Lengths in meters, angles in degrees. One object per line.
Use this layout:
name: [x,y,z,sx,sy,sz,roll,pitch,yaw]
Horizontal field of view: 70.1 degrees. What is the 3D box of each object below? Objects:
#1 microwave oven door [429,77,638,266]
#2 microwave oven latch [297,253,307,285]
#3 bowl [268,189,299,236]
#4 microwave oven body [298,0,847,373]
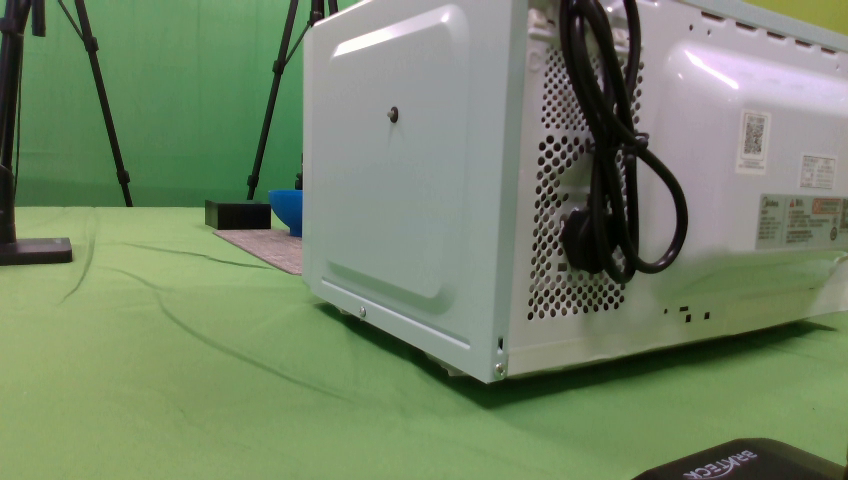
microwave oven door: [0.143,-0.106,0.903,0.039,0.243,0.354,-4,9,-41]
microwave oven latch: [-0.082,0.027,0.583,0.079,0.029,0.030,-2,7,-33]
bowl: [-0.205,-0.049,1.090,0.151,0.077,0.151,3,7,0]
microwave oven body: [0.151,-0.055,0.543,0.444,0.260,0.324,-1,7,-33]
